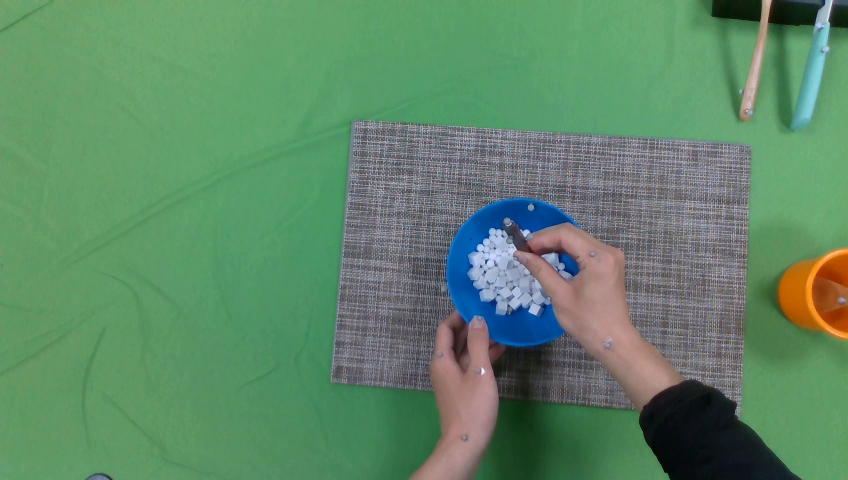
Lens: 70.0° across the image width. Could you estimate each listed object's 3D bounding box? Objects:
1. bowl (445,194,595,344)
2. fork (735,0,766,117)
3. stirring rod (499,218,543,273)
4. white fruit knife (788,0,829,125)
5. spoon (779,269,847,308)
[{"bbox_3d":[0.097,0.032,0.641,0.151,0.077,0.151,0,85,2],"label":"bowl"},{"bbox_3d":[0.360,-0.238,0.653,0.028,0.018,0.208,1,105,-1],"label":"fork"},{"bbox_3d":[0.095,0.009,0.578,0.014,0.177,0.006,11,77,22],"label":"stirring rod"},{"bbox_3d":[0.422,-0.229,0.649,0.016,0.027,0.208,5,102,0],"label":"white fruit knife"},{"bbox_3d":[0.459,0.053,0.596,0.022,0.192,0.041,10,85,-42],"label":"spoon"}]
